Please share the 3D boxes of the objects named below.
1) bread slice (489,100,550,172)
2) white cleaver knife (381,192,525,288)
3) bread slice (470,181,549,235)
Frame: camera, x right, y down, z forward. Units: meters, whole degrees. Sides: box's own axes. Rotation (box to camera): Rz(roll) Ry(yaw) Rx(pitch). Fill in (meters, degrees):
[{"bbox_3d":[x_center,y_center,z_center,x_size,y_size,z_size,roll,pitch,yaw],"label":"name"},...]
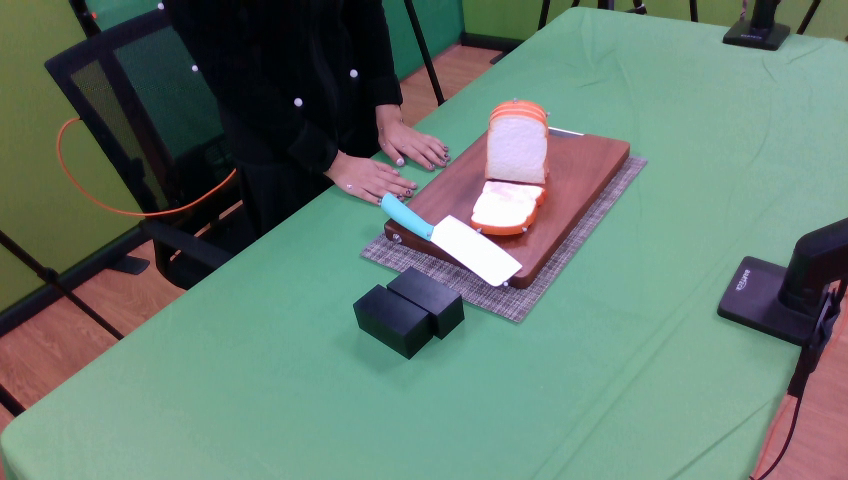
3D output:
[{"bbox_3d":[0.164,-0.176,1.032,0.104,0.132,0.019,4,38,13],"label":"bread slice"},{"bbox_3d":[0.036,-0.009,0.950,0.066,0.021,0.284,-38,53,-23],"label":"white cleaver knife"},{"bbox_3d":[0.131,-0.054,0.974,0.106,0.018,0.134,9,40,24],"label":"bread slice"}]
